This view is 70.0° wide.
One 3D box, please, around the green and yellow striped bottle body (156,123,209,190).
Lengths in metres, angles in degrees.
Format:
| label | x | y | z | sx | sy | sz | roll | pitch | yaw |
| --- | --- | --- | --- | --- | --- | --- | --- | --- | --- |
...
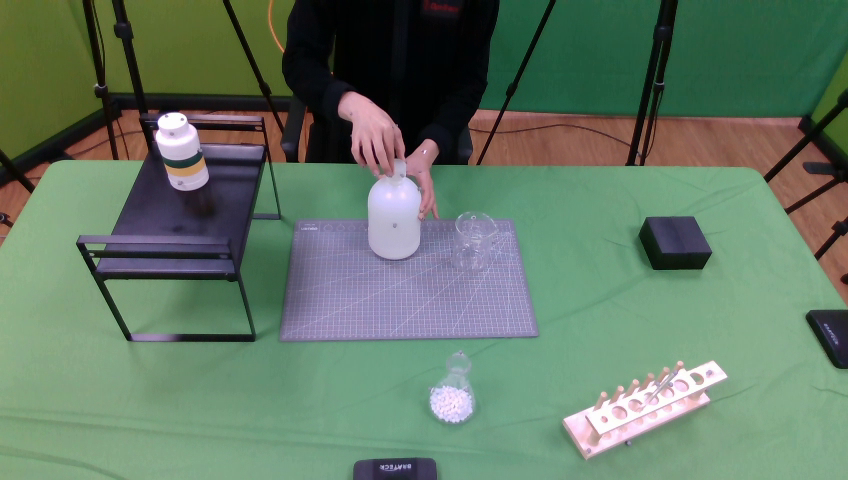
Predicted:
| label | x | y | z | sx | sy | sz | roll | pitch | yaw |
| --- | --- | --- | --- | --- | --- | --- | --- | --- | --- |
| green and yellow striped bottle body | -0.395 | -0.145 | 0.989 | 0.063 | 0.120 | 0.063 | 2 | 46 | -2 |

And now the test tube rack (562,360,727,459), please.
| label | x | y | z | sx | sy | sz | roll | pitch | yaw |
| --- | --- | --- | --- | --- | --- | --- | --- | --- | --- |
| test tube rack | 0.341 | 0.247 | 0.940 | 0.243 | 0.085 | 0.066 | -16 | 49 | -18 |

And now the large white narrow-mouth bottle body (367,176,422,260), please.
| label | x | y | z | sx | sy | sz | roll | pitch | yaw |
| --- | --- | --- | --- | --- | --- | --- | --- | --- | --- |
| large white narrow-mouth bottle body | -0.055 | -0.058 | 1.128 | 0.102 | 0.195 | 0.101 | 3 | 45 | -3 |

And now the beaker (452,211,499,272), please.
| label | x | y | z | sx | sy | sz | roll | pitch | yaw |
| --- | --- | --- | --- | --- | --- | --- | --- | --- | --- |
| beaker | 0.093 | 0.006 | 1.141 | 0.084 | 0.101 | 0.073 | 8 | 46 | 3 |

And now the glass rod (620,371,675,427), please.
| label | x | y | z | sx | sy | sz | roll | pitch | yaw |
| --- | --- | --- | --- | --- | --- | --- | --- | --- | --- |
| glass rod | 0.315 | 0.230 | 0.863 | 0.008 | 0.200 | 0.008 | 3 | 54 | -3 |

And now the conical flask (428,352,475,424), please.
| label | x | y | z | sx | sy | sz | roll | pitch | yaw |
| --- | --- | --- | --- | --- | --- | --- | --- | --- | --- |
| conical flask | 0.046 | 0.220 | 0.920 | 0.075 | 0.122 | 0.075 | 2 | 46 | -2 |

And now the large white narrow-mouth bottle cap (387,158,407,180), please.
| label | x | y | z | sx | sy | sz | roll | pitch | yaw |
| --- | --- | --- | --- | --- | --- | --- | --- | --- | --- |
| large white narrow-mouth bottle cap | -0.047 | -0.125 | 1.061 | 0.038 | 0.024 | 0.037 | 3 | 45 | -3 |

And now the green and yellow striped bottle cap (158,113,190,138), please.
| label | x | y | z | sx | sy | sz | roll | pitch | yaw |
| --- | --- | --- | --- | --- | --- | --- | --- | --- | --- |
| green and yellow striped bottle cap | -0.393 | -0.180 | 0.951 | 0.045 | 0.020 | 0.045 | 2 | 44 | -2 |
